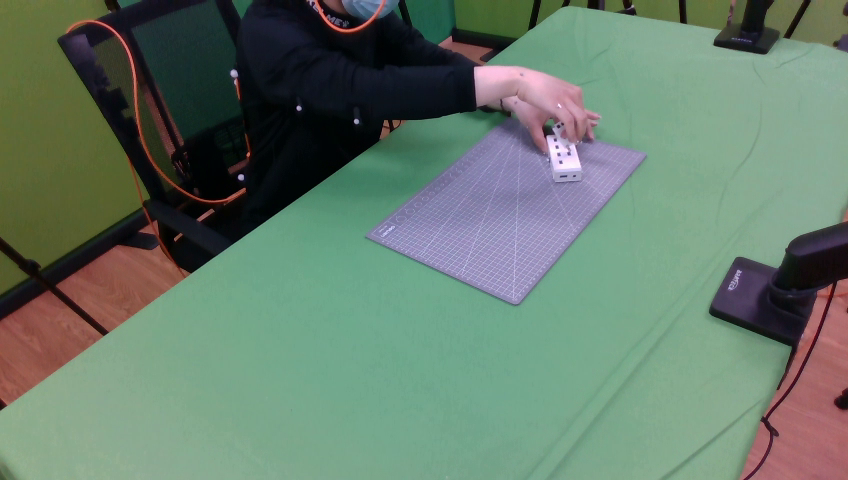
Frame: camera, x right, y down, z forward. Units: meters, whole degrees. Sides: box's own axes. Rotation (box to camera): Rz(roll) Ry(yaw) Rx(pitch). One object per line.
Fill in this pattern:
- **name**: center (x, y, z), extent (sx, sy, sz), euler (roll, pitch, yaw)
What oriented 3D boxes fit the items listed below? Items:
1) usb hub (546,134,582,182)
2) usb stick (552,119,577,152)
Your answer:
- **usb hub**: center (0.255, -0.152, 1.103), extent (0.049, 0.025, 0.124), euler (-3, 41, 5)
- **usb stick**: center (0.252, -0.183, 1.071), extent (0.027, 0.059, 0.021), euler (-31, 36, 10)
